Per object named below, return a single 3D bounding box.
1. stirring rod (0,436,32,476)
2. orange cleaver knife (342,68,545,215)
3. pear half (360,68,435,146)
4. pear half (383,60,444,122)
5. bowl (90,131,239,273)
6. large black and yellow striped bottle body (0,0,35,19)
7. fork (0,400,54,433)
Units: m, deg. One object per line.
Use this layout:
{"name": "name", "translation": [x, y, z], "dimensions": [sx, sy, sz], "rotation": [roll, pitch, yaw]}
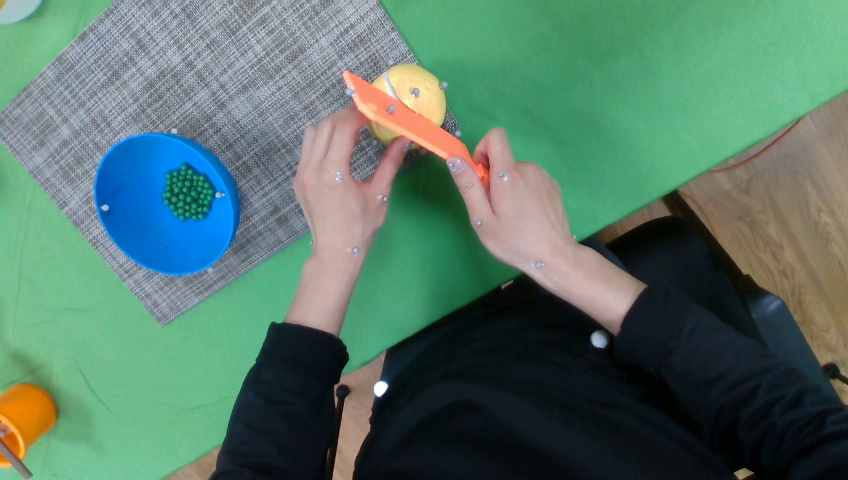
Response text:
{"name": "stirring rod", "translation": [-0.558, 0.232, 0.764], "dimensions": [0.014, 0.006, 0.177], "rotation": [-27, 106, 16]}
{"name": "orange cleaver knife", "translation": [0.021, -0.084, 0.530], "dimensions": [0.213, 0.076, 0.012], "rotation": [29, 113, -25]}
{"name": "pear half", "translation": [-0.031, -0.116, 0.568], "dimensions": [0.076, 0.109, 0.056], "rotation": [39, 110, -5]}
{"name": "pear half", "translation": [-0.004, -0.144, 0.562], "dimensions": [0.070, 0.087, 0.031], "rotation": [38, 108, -7]}
{"name": "bowl", "translation": [-0.259, -0.049, 0.645], "dimensions": [0.151, 0.076, 0.152], "rotation": [3, 112, 8]}
{"name": "large black and yellow striped bottle body", "translation": [-0.458, -0.264, 0.536], "dimensions": [0.130, 0.183, 0.131], "rotation": [3, 111, 8]}
{"name": "fork", "translation": [-0.595, 0.264, 0.785], "dimensions": [0.207, 0.018, 0.028], "rotation": [-26, 122, -28]}
